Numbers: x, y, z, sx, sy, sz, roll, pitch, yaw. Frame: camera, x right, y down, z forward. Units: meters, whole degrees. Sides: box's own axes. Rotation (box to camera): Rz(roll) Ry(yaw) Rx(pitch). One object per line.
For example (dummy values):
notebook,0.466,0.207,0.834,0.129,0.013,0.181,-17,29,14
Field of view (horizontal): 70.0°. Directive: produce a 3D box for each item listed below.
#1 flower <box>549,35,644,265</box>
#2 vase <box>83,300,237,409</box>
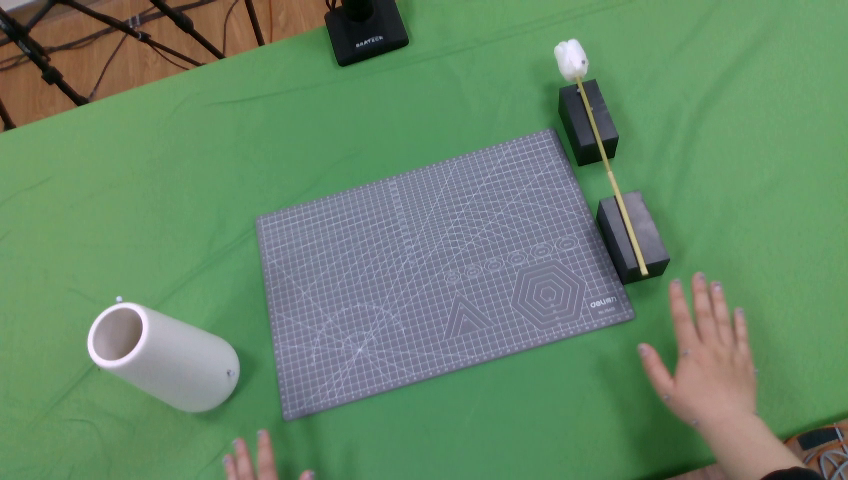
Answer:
flower,0.222,-0.127,0.777,0.044,0.038,0.358,4,59,-23
vase,-0.295,0.133,0.698,0.098,0.201,0.097,-3,64,7
